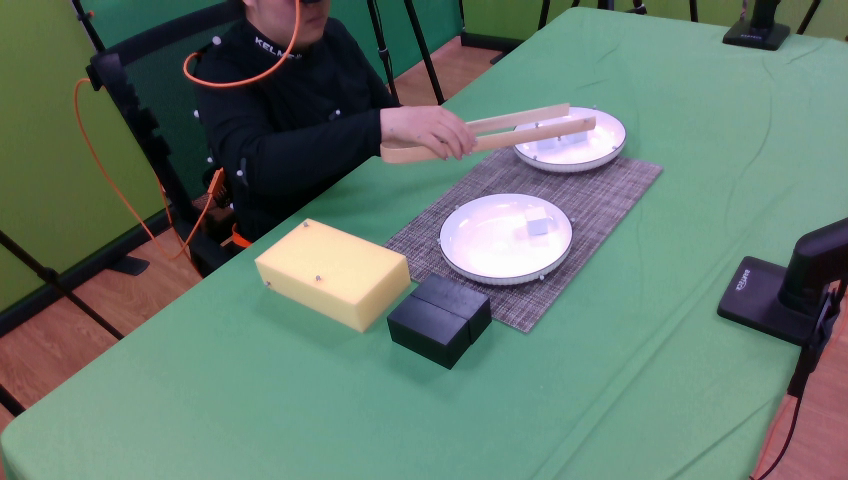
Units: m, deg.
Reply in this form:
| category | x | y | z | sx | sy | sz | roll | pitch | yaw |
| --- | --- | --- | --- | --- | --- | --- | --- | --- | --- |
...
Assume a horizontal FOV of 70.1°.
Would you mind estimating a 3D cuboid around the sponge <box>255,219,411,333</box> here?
| category | x | y | z | sx | sy | sz | roll | pitch | yaw |
| --- | --- | --- | --- | --- | --- | --- | --- | --- | --- |
| sponge | -0.139 | 0.048 | 0.922 | 0.205 | 0.061 | 0.118 | 19 | 47 | 30 |

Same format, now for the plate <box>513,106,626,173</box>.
| category | x | y | z | sx | sy | sz | roll | pitch | yaw |
| --- | --- | --- | --- | --- | --- | --- | --- | --- | --- |
| plate | 0.269 | -0.185 | 1.132 | 0.209 | 0.038 | 0.208 | -5 | 40 | 5 |

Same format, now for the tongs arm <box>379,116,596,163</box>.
| category | x | y | z | sx | sy | sz | roll | pitch | yaw |
| --- | --- | --- | --- | --- | --- | --- | --- | --- | --- |
| tongs arm | 0.116 | -0.175 | 1.028 | 0.387 | 0.026 | 0.050 | -13 | 32 | -18 |

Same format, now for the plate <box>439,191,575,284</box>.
| category | x | y | z | sx | sy | sz | roll | pitch | yaw |
| --- | --- | --- | --- | --- | --- | --- | --- | --- | --- |
| plate | 0.129 | -0.002 | 0.942 | 0.207 | 0.039 | 0.206 | -5 | 40 | 5 |

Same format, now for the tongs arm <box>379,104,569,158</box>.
| category | x | y | z | sx | sy | sz | roll | pitch | yaw |
| --- | --- | --- | --- | --- | --- | --- | --- | --- | --- |
| tongs arm | 0.098 | -0.197 | 1.068 | 0.389 | 0.028 | 0.028 | -15 | 36 | -21 |
